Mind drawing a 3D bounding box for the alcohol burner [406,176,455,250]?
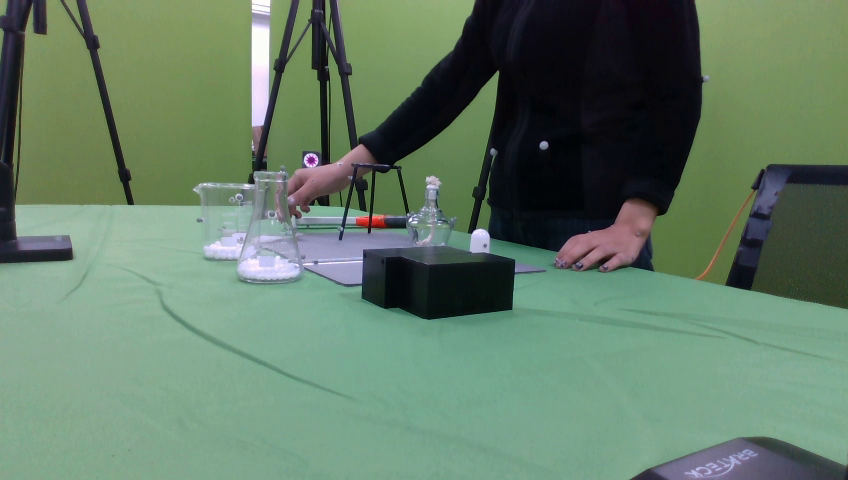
[{"bbox_3d":[0.012,-0.044,0.963,0.078,0.119,0.078,4,7,0],"label":"alcohol burner"}]

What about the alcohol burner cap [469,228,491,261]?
[{"bbox_3d":[0.082,0.006,0.878,0.034,0.048,0.034,2,6,0],"label":"alcohol burner cap"}]

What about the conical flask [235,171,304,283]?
[{"bbox_3d":[-0.172,-0.016,0.677,0.075,0.122,0.075,2,7,0],"label":"conical flask"}]

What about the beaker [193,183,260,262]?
[{"bbox_3d":[-0.262,-0.024,0.806,0.084,0.100,0.073,-3,9,-30],"label":"beaker"}]

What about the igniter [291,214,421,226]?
[{"bbox_3d":[-0.135,-0.040,1.250,0.278,0.025,0.057,-2,-3,-28],"label":"igniter"}]

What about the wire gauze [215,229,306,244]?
[{"bbox_3d":[-0.273,-0.009,1.013,0.122,0.011,0.124,-2,9,-33],"label":"wire gauze"}]

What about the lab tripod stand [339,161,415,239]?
[{"bbox_3d":[-0.081,-0.070,1.059,0.148,0.131,0.148,4,6,0],"label":"lab tripod stand"}]

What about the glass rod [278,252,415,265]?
[{"bbox_3d":[-0.097,0.024,0.805,0.201,0.008,0.008,-3,8,-33],"label":"glass rod"}]
